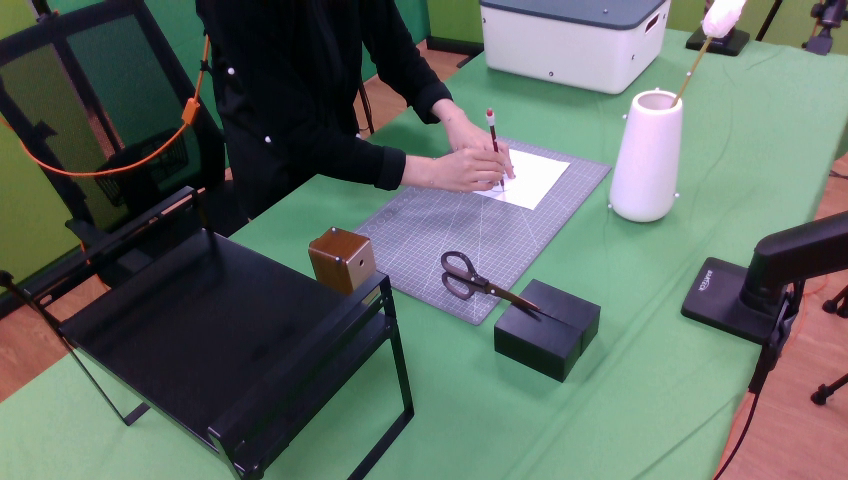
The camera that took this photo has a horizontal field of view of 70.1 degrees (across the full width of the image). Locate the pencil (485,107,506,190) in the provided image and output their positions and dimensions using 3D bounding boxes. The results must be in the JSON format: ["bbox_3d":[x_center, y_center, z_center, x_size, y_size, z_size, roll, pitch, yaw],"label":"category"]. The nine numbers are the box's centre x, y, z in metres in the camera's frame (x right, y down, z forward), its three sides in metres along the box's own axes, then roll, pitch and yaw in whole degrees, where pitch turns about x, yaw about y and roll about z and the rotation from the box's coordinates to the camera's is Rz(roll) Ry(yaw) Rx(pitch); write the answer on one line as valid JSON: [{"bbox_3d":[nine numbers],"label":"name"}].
[{"bbox_3d":[0.120,-0.143,0.990,0.012,0.195,0.012,-8,53,11],"label":"pencil"}]

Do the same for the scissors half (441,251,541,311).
[{"bbox_3d":[0.087,0.056,0.824,0.173,0.040,0.013,29,44,36],"label":"scissors half"}]

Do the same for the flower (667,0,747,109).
[{"bbox_3d":[0.354,-0.187,0.879,0.038,0.362,0.044,31,48,14],"label":"flower"}]

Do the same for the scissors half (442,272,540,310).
[{"bbox_3d":[0.089,0.074,0.833,0.013,0.040,0.173,-24,23,-38],"label":"scissors half"}]

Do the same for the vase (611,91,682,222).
[{"bbox_3d":[0.348,-0.125,0.935,0.098,0.201,0.097,-3,40,3],"label":"vase"}]

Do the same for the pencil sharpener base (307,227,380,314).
[{"bbox_3d":[-0.116,0.043,0.875,0.076,0.107,0.061,18,47,27],"label":"pencil sharpener base"}]

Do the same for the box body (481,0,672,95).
[{"bbox_3d":[0.341,-0.480,1.381,0.361,0.161,0.255,22,48,30],"label":"box body"}]

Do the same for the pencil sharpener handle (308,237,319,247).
[{"bbox_3d":[-0.159,0.017,0.892,0.030,0.068,0.036,18,61,28],"label":"pencil sharpener handle"}]

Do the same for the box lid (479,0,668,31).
[{"bbox_3d":[0.335,-0.536,1.331,0.368,0.015,0.264,23,49,30],"label":"box lid"}]
